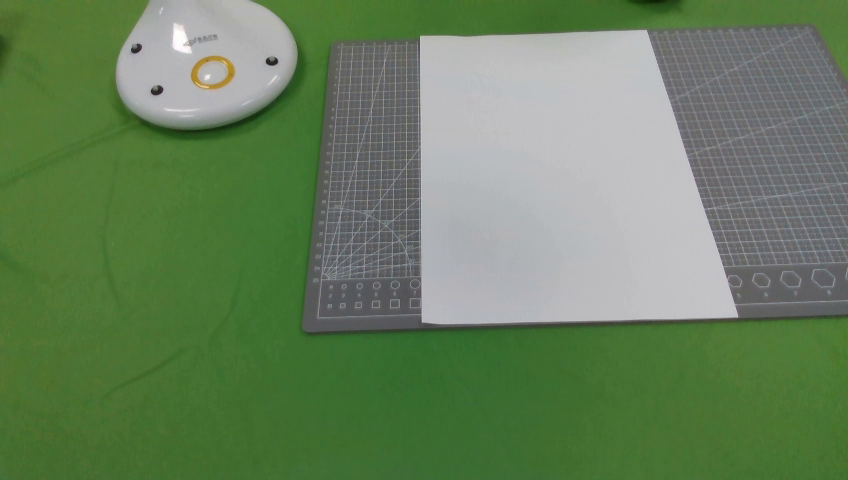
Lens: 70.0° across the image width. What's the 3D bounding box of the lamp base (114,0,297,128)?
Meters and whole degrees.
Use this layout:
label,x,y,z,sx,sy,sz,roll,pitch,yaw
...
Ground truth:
label,x,y,z,sx,sy,sz,roll,pitch,yaw
lamp base,-0.205,-0.212,0.487,0.161,0.182,0.177,-29,58,-16
